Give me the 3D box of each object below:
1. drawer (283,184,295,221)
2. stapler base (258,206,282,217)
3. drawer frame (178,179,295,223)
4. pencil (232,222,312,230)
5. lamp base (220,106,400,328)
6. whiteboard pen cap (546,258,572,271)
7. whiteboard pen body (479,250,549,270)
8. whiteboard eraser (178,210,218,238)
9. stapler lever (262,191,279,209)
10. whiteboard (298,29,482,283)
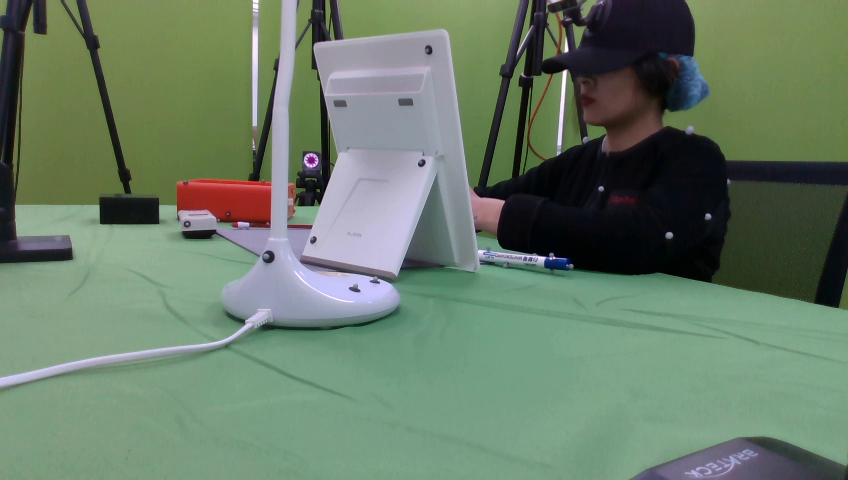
[{"bbox_3d":[-0.394,-0.087,1.317,0.212,0.073,0.194,1,8,-7],"label":"drawer"},{"bbox_3d":[-0.331,-0.065,1.305,0.041,0.024,0.130,9,-1,-9],"label":"stapler base"},{"bbox_3d":[-0.397,-0.088,1.315,0.214,0.082,0.201,1,8,-7],"label":"drawer frame"},{"bbox_3d":[-0.261,-0.025,1.141,0.195,0.012,0.012,2,7,-26],"label":"pencil"},{"bbox_3d":[-0.101,-0.023,0.531,0.160,0.180,0.179,4,10,10],"label":"lamp base"},{"bbox_3d":[0.175,0.032,0.790,0.033,0.018,0.018,3,6,37],"label":"whiteboard pen cap"},{"bbox_3d":[0.130,0.028,0.827,0.140,0.017,0.017,7,9,38],"label":"whiteboard pen body"},{"bbox_3d":[-0.380,-0.027,1.014,0.056,0.042,0.112,0,8,-25],"label":"whiteboard eraser"},{"bbox_3d":[-0.329,-0.086,1.306,0.027,0.040,0.118,9,3,-9],"label":"stapler lever"},{"bbox_3d":[-0.075,-0.082,0.742,0.216,0.305,0.144,9,29,37],"label":"whiteboard"}]
